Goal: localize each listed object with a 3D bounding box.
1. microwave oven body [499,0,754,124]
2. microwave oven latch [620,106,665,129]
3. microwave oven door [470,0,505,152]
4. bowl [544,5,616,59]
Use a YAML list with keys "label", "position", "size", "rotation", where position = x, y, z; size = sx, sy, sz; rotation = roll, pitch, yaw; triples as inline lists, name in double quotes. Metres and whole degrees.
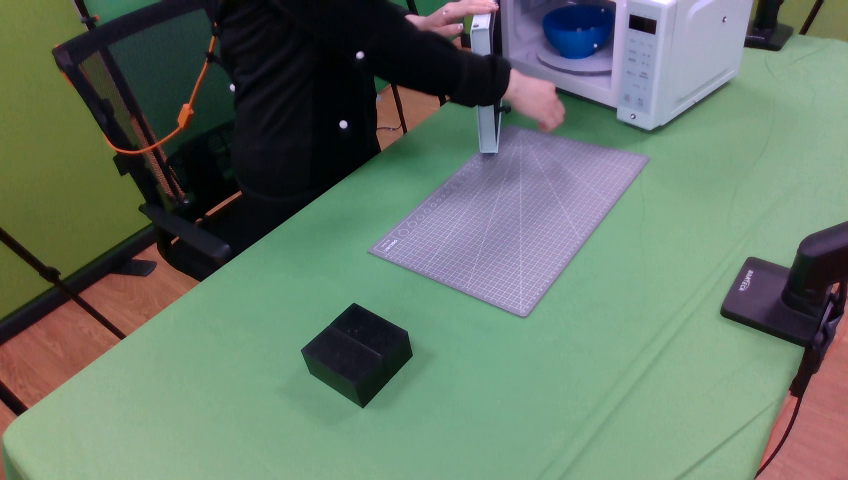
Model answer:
- label: "microwave oven body"
  position: [0.402, -0.458, 1.259]
  size: [0.327, 0.261, 0.437]
  rotation: [-33, 45, -24]
- label: "microwave oven latch"
  position: [0.412, -0.237, 1.146]
  size: [0.030, 0.029, 0.078]
  rotation: [-32, 44, -23]
- label: "microwave oven door"
  position: [0.131, -0.373, 1.204]
  size: [0.039, 0.245, 0.354]
  rotation: [0, 41, 11]
- label: "bowl"
  position: [0.332, -0.441, 1.302]
  size: [0.151, 0.077, 0.150]
  rotation: [-3, 39, 3]
